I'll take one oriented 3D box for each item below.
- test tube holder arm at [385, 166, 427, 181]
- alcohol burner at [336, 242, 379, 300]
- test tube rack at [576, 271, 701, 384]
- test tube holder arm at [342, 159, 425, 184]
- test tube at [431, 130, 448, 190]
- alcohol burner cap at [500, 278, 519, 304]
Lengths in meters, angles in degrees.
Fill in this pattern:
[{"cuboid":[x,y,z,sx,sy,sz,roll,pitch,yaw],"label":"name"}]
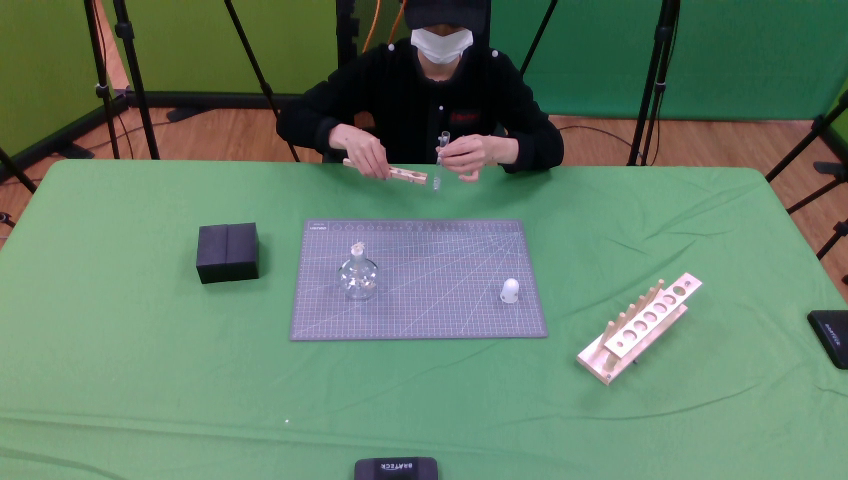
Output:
[{"cuboid":[-0.037,-0.133,1.206,0.088,0.015,0.010,10,46,10],"label":"test tube holder arm"},{"cuboid":[-0.118,0.050,1.072,0.078,0.120,0.077,2,44,-1],"label":"alcohol burner"},{"cuboid":[0.373,0.138,1.047,0.242,0.085,0.066,-31,56,-29],"label":"test tube rack"},{"cuboid":[-0.082,-0.139,1.211,0.178,0.015,0.013,13,46,12],"label":"test tube holder arm"},{"cuboid":[0.029,-0.148,1.150,0.017,0.151,0.017,4,52,-5],"label":"test tube"},{"cuboid":[0.157,0.090,1.104,0.034,0.048,0.033,2,46,-2],"label":"alcohol burner cap"}]
